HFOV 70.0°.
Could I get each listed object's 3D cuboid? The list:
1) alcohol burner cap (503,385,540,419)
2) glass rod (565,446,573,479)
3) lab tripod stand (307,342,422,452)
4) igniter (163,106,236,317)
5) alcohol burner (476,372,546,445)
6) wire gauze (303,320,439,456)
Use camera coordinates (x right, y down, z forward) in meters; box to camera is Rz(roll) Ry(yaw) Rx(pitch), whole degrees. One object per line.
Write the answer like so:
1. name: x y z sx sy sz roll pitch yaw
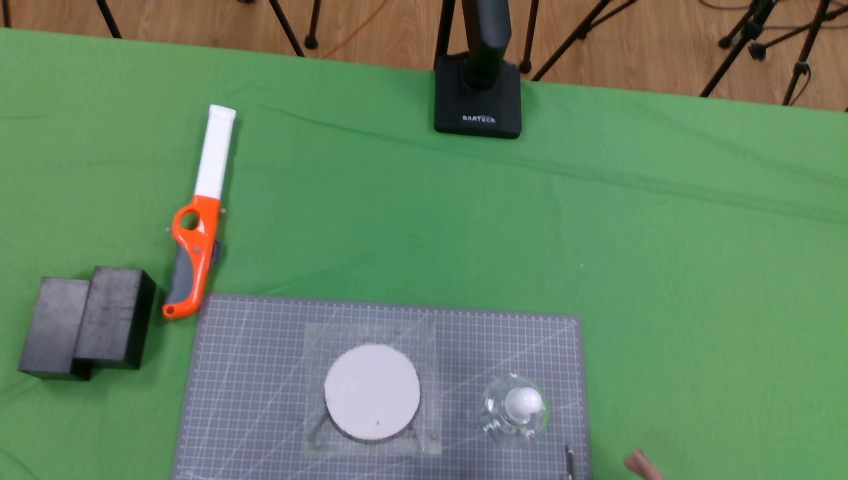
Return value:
1. alcohol burner cap: 0.100 0.161 0.607 0.034 0.048 0.033 2 72 -7
2. glass rod: 0.159 0.323 0.645 0.008 0.008 0.198 4 67 -6
3. lab tripod stand: -0.056 0.161 0.615 0.148 0.132 0.147 2 67 -4
4. igniter: -0.266 -0.040 0.729 0.057 0.025 0.274 11 66 -19
5. alcohol burner: 0.096 0.175 0.640 0.078 0.120 0.077 2 66 -5
6. wire gauze: -0.050 0.133 0.554 0.125 0.011 0.120 0 67 -7
